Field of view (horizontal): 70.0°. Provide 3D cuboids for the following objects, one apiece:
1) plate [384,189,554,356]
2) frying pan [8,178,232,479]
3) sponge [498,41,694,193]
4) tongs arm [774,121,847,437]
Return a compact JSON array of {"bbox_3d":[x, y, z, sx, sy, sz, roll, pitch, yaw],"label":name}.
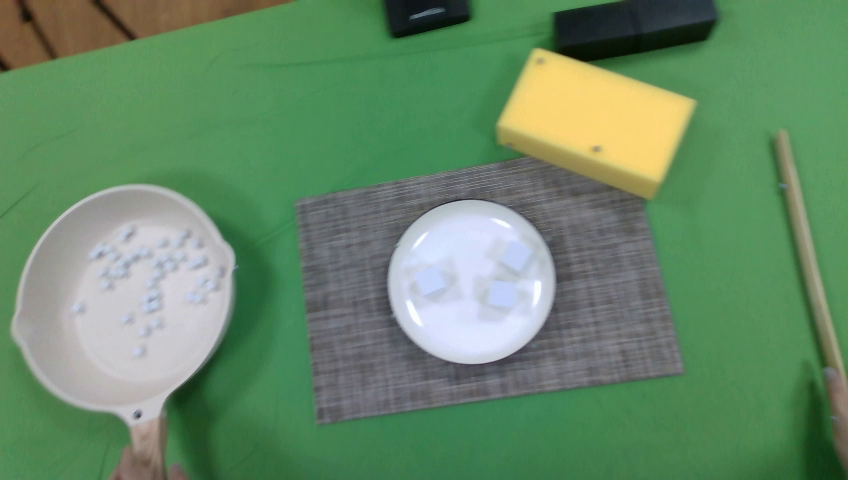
[{"bbox_3d":[0.055,0.041,0.753,0.207,0.039,0.206,-2,78,8],"label":"plate"},{"bbox_3d":[-0.355,0.158,0.754,0.307,0.103,0.483,-18,68,5],"label":"frying pan"},{"bbox_3d":[0.211,-0.156,0.763,0.206,0.061,0.118,23,80,13],"label":"sponge"},{"bbox_3d":[0.458,0.043,0.705,0.028,0.028,0.385,-7,77,4],"label":"tongs arm"}]
